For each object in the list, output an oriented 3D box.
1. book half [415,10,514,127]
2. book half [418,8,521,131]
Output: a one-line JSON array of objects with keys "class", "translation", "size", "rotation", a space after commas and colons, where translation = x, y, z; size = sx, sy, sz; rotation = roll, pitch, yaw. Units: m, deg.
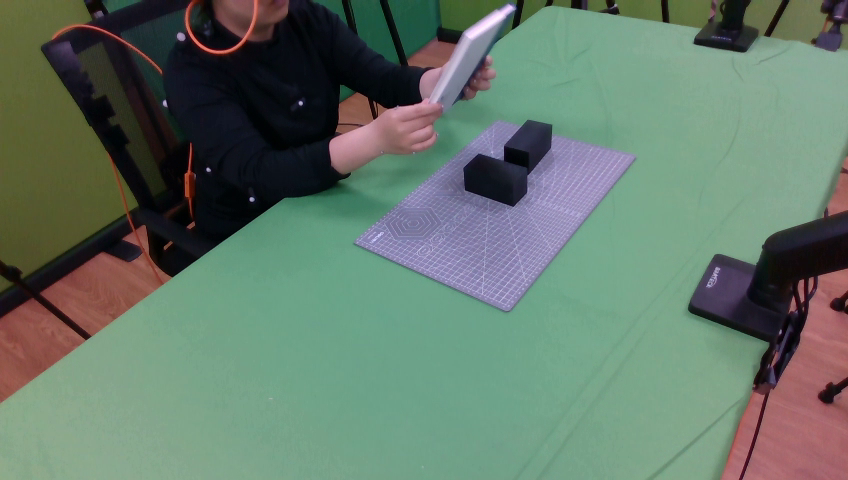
[{"class": "book half", "translation": [0.065, -0.283, 1.010], "size": [0.007, 0.209, 0.143], "rotation": [44, 51, 2]}, {"class": "book half", "translation": [0.070, -0.281, 1.011], "size": [0.016, 0.210, 0.149], "rotation": [43, 51, 2]}]
